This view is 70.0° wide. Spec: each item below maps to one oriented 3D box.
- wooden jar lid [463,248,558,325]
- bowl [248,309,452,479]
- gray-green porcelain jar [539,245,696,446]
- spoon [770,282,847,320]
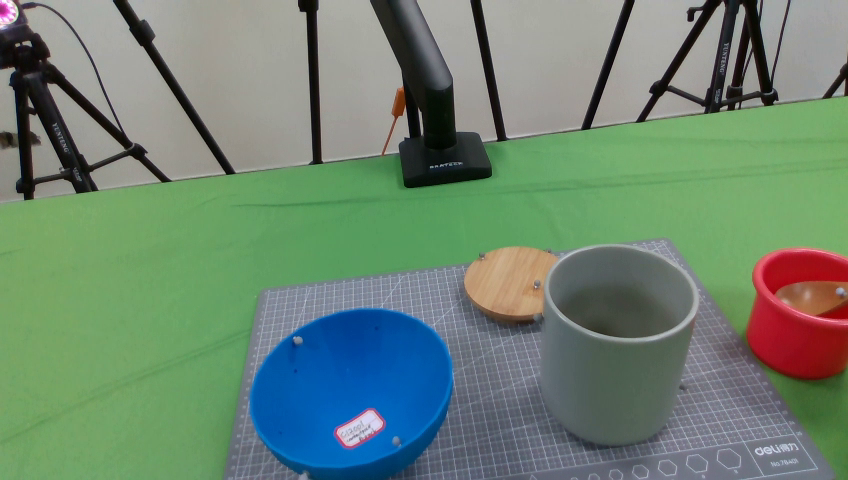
[{"bbox_3d":[0.093,0.047,0.612,0.108,0.021,0.107,-4,35,3],"label":"wooden jar lid"},{"bbox_3d":[-0.051,0.132,0.468,0.151,0.077,0.150,-4,37,3],"label":"bowl"},{"bbox_3d":[0.142,0.085,0.463,0.106,0.127,0.105,-4,37,3],"label":"gray-green porcelain jar"},{"bbox_3d":[0.360,0.033,0.458,0.041,0.022,0.193,-53,12,-31],"label":"spoon"}]
